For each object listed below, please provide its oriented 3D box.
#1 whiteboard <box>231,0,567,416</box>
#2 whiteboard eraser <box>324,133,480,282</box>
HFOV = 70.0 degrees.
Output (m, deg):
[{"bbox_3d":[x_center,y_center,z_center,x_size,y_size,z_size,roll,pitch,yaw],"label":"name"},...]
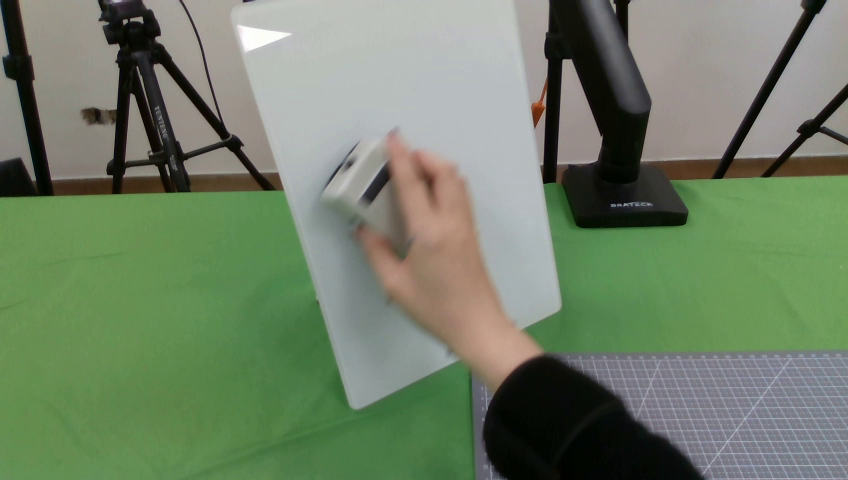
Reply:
[{"bbox_3d":[-0.025,-0.053,0.522,0.217,0.307,0.142,-21,20,-23],"label":"whiteboard"},{"bbox_3d":[-0.014,-0.021,0.435,0.055,0.114,0.041,-57,29,-13],"label":"whiteboard eraser"}]
